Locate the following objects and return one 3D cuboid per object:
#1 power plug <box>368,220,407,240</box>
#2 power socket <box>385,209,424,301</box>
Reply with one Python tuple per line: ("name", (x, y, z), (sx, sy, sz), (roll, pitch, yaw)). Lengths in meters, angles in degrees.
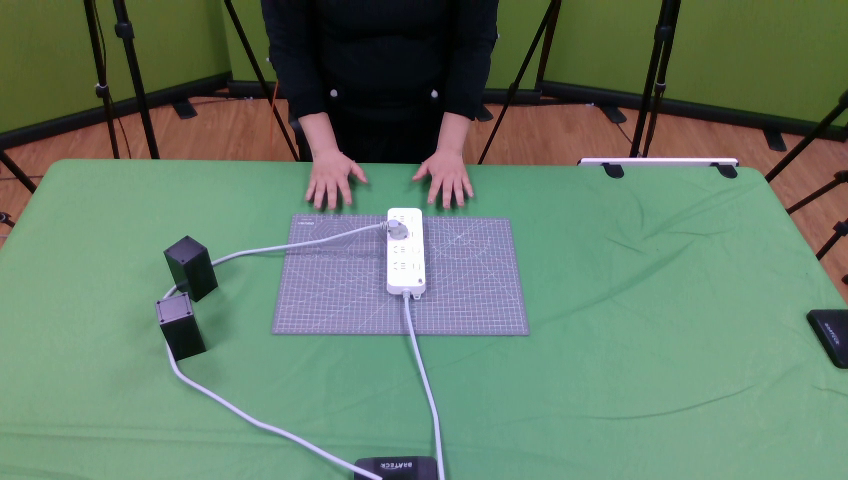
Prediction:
("power plug", (-0.068, -0.018, 1.172), (0.072, 0.053, 0.035), (7, 45, 5))
("power socket", (-0.039, 0.019, 1.165), (0.072, 0.033, 0.225), (0, 46, -3))
